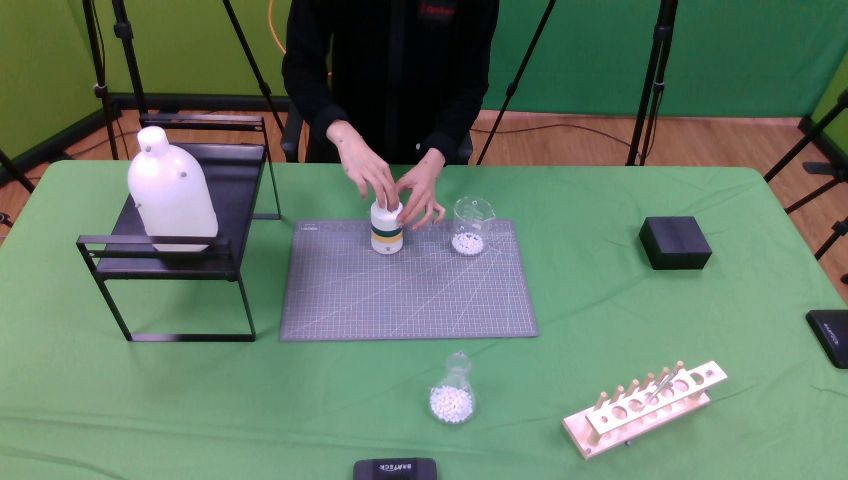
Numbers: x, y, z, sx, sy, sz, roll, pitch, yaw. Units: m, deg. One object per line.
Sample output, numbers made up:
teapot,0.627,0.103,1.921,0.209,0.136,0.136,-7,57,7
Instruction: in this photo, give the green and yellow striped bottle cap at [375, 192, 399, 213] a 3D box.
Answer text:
green and yellow striped bottle cap,-0.068,-0.069,1.114,0.045,0.020,0.045,0,38,0

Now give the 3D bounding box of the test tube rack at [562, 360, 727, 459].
test tube rack,0.341,0.247,0.940,0.243,0.085,0.066,-16,49,-18

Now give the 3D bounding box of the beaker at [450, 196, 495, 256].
beaker,0.092,-0.024,1.170,0.084,0.101,0.073,15,48,10

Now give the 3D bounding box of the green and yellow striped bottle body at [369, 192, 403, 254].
green and yellow striped bottle body,-0.072,-0.035,1.153,0.063,0.120,0.063,2,46,-2

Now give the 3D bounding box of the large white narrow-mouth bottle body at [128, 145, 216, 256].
large white narrow-mouth bottle body,-0.366,-0.073,0.872,0.102,0.195,0.101,3,47,-3

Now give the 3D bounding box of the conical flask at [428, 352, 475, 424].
conical flask,0.046,0.220,0.920,0.075,0.122,0.075,2,46,-2

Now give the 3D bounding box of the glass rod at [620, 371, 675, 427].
glass rod,0.316,0.230,0.863,0.008,0.200,0.008,3,54,-3

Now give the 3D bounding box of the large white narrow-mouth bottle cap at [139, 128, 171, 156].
large white narrow-mouth bottle cap,-0.359,-0.132,0.808,0.038,0.024,0.037,3,47,-3
